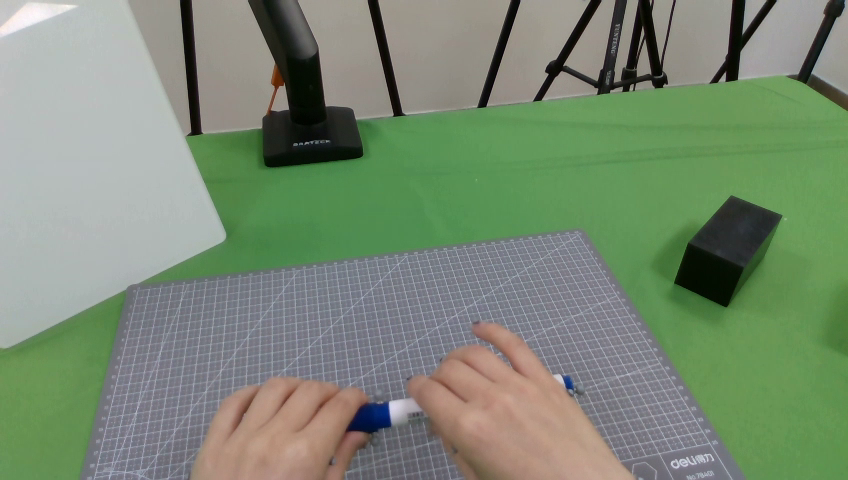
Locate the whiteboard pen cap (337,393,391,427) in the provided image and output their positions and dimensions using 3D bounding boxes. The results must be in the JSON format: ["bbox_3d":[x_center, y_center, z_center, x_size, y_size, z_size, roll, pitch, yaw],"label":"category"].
[{"bbox_3d":[-0.035,0.103,0.367,0.033,0.018,0.018,-5,40,-2],"label":"whiteboard pen cap"}]

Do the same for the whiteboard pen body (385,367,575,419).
[{"bbox_3d":[0.023,0.096,0.371,0.141,0.017,0.017,-8,40,-4],"label":"whiteboard pen body"}]

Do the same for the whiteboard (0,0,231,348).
[{"bbox_3d":[-0.355,-0.103,0.550,0.217,0.308,0.142,-32,30,-32],"label":"whiteboard"}]
